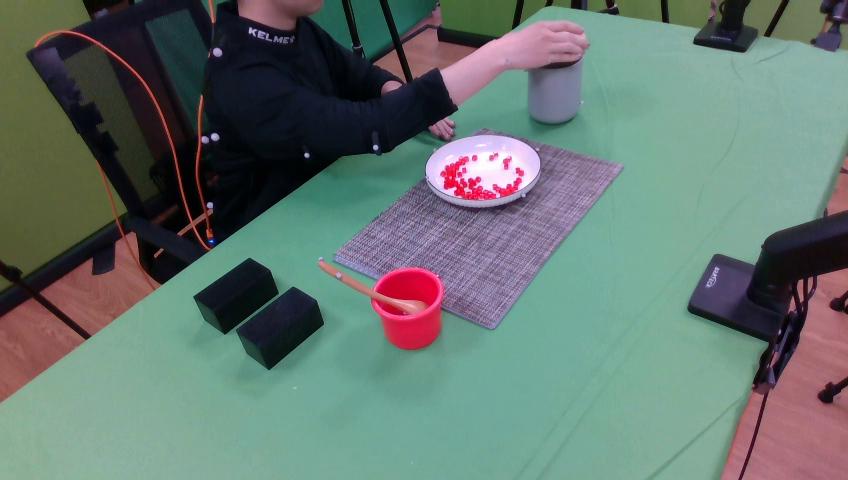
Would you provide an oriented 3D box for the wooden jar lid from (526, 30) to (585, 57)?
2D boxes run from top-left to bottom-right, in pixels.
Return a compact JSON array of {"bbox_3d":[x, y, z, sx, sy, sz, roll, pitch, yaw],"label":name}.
[{"bbox_3d":[0.248,-0.368,1.137,0.108,0.021,0.108,-10,33,7],"label":"wooden jar lid"}]

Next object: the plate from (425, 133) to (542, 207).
[{"bbox_3d":[0.106,-0.122,1.079,0.207,0.039,0.206,-4,41,4],"label":"plate"}]

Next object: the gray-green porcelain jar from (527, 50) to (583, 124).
[{"bbox_3d":[0.259,-0.305,1.207,0.106,0.127,0.105,-4,41,4],"label":"gray-green porcelain jar"}]

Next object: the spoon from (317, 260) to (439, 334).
[{"bbox_3d":[-0.056,0.075,0.788,0.195,0.021,0.041,27,42,-21],"label":"spoon"}]
